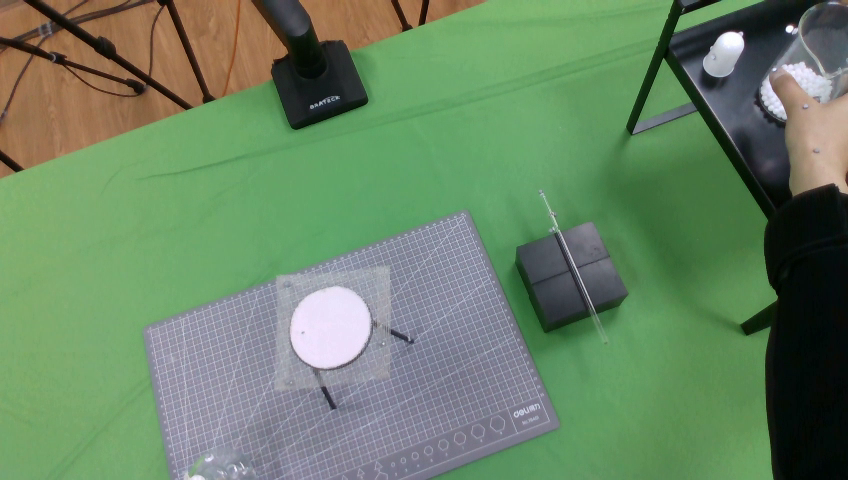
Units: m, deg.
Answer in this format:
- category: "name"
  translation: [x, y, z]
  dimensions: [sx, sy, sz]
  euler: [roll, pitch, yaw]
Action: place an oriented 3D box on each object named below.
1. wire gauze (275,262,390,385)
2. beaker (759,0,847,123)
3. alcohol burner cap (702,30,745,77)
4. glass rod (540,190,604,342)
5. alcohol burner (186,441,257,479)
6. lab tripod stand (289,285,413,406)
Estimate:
- category: "wire gauze"
  translation: [-0.095, 0.084, 0.628]
  dimensions: [0.121, 0.011, 0.124]
  euler: [-4, 68, 4]
- category: "beaker"
  translation: [0.376, -0.164, 0.582]
  dimensions: [0.073, 0.101, 0.083]
  euler: [21, 73, 13]
- category: "alcohol burner cap"
  translation: [0.314, -0.197, 0.630]
  dimensions: [0.034, 0.048, 0.033]
  euler: [-2, 68, 5]
- category: "glass rod"
  translation: [0.174, 0.027, 0.718]
  dimensions: [0.008, 0.008, 0.198]
  euler: [-17, 69, -1]
- category: "alcohol burner"
  translation: [-0.226, 0.258, 0.656]
  dimensions: [0.078, 0.120, 0.077]
  euler: [-1, 70, 4]
- category: "lab tripod stand"
  translation: [-0.095, 0.110, 0.691]
  dimensions: [0.148, 0.132, 0.147]
  euler: [-2, 69, 6]
